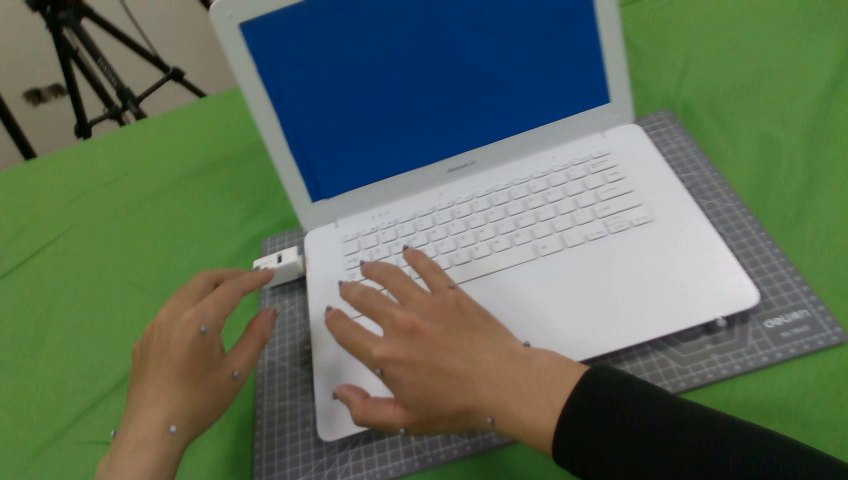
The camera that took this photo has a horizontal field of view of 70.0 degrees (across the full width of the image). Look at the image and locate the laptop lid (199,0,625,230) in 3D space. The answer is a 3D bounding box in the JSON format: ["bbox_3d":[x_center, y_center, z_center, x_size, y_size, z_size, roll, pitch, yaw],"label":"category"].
[{"bbox_3d":[0.002,-0.162,0.570,0.357,0.243,0.013,-20,25,3],"label":"laptop lid"}]

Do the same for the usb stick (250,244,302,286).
[{"bbox_3d":[-0.138,0.022,0.592,0.059,0.027,0.021,-16,45,1],"label":"usb stick"}]

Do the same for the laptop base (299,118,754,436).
[{"bbox_3d":[0.062,0.019,0.541,0.354,0.023,0.233,-19,49,3],"label":"laptop base"}]
